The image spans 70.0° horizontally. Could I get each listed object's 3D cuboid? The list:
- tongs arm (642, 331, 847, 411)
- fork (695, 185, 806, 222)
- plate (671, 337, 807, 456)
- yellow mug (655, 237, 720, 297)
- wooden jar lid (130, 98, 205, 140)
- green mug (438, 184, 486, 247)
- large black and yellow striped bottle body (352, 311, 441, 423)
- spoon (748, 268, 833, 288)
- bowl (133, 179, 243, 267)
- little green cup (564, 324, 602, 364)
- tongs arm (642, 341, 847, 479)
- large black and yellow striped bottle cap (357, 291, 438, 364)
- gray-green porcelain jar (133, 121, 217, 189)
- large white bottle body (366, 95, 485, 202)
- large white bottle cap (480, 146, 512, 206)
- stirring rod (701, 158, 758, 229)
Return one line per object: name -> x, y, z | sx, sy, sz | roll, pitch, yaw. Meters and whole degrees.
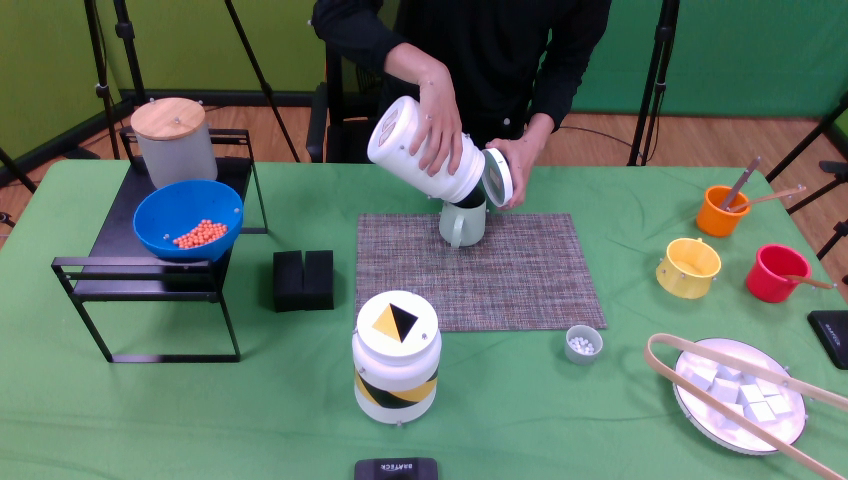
tongs arm -> 0.546, 0.227, 0.968 | 0.384, 0.026, 0.050 | 22, 52, 13
fork -> 0.658, -0.074, 1.230 | 0.207, 0.019, 0.028 | -23, 36, 37
plate -> 0.503, 0.254, 0.984 | 0.208, 0.039, 0.206 | 2, 46, -2
yellow mug -> 0.509, 0.041, 1.167 | 0.099, 0.064, 0.130 | 24, 48, 18
wooden jar lid -> -0.393, -0.183, 0.934 | 0.108, 0.021, 0.107 | 3, 44, -2
green mug -> 0.072, -0.039, 1.178 | 0.092, 0.105, 0.124 | 12, 47, 7
large black and yellow striped bottle body -> -0.042, 0.178, 0.912 | 0.131, 0.185, 0.130 | 2, 46, -2
spoon -> 0.660, 0.068, 1.097 | 0.041, 0.193, 0.021 | -3, 91, -6
bowl -> -0.339, -0.013, 0.895 | 0.151, 0.077, 0.150 | 2, 46, -2
little green cup -> 0.269, 0.179, 1.036 | 0.061, 0.039, 0.061 | 2, 45, -2
tongs arm -> 0.504, 0.278, 0.917 | 0.386, 0.028, 0.028 | 33, 58, 22
large black and yellow striped bottle cap -> -0.037, 0.121, 0.851 | 0.115, 0.019, 0.114 | 2, 46, -1
gray-green porcelain jar -> -0.397, -0.141, 0.980 | 0.106, 0.127, 0.105 | 2, 47, -2
large white bottle body -> 0.005, -0.157, 1.083 | 0.185, 0.131, 0.130 | 29, 41, -25
large white bottle cap -> 0.134, -0.122, 1.155 | 0.018, 0.115, 0.114 | -18, 50, -13
stirring rod -> 0.634, -0.096, 1.257 | 0.014, 0.006, 0.176 | 38, 97, 29
